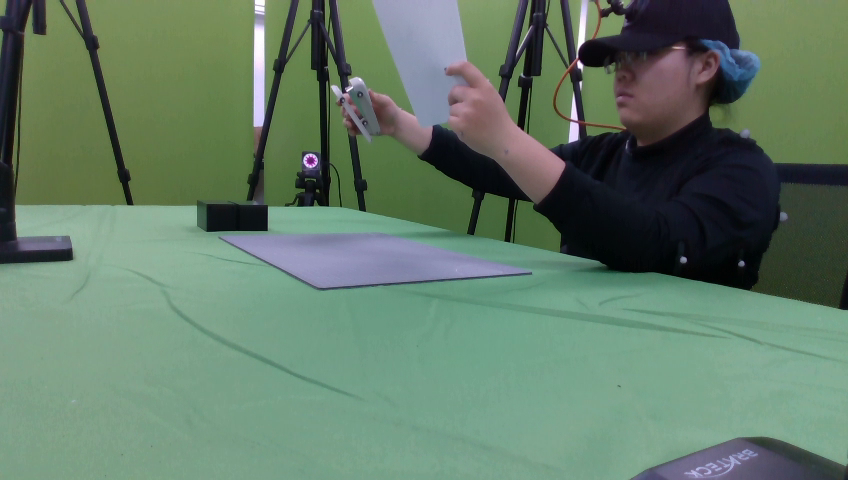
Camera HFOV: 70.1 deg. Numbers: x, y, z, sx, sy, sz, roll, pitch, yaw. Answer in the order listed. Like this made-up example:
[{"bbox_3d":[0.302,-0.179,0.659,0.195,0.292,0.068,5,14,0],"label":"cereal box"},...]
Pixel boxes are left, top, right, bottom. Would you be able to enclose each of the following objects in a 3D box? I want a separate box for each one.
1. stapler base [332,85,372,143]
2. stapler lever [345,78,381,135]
[{"bbox_3d":[-0.131,-0.244,1.156,0.024,0.131,0.041,-28,44,6],"label":"stapler base"},{"bbox_3d":[-0.109,-0.256,1.155,0.040,0.118,0.026,-29,44,6],"label":"stapler lever"}]
